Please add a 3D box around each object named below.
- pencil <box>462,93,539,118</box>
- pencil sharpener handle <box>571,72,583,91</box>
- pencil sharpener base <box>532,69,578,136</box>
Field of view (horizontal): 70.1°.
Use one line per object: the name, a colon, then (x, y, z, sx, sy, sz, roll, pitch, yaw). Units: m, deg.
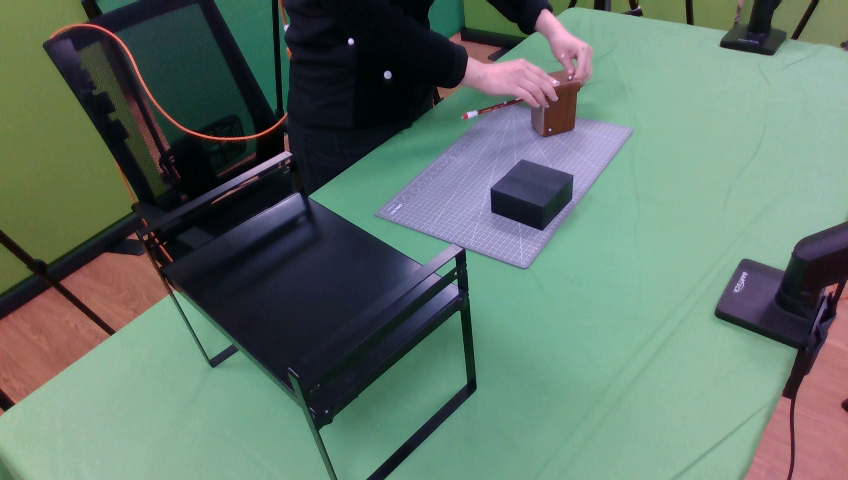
pencil: (0.165, -0.262, 1.151, 0.194, 0.012, 0.012, -17, 41, -7)
pencil sharpener handle: (0.298, -0.311, 1.181, 0.031, 0.036, 0.067, -15, 38, -8)
pencil sharpener base: (0.256, -0.268, 1.179, 0.077, 0.107, 0.061, -15, 41, -8)
